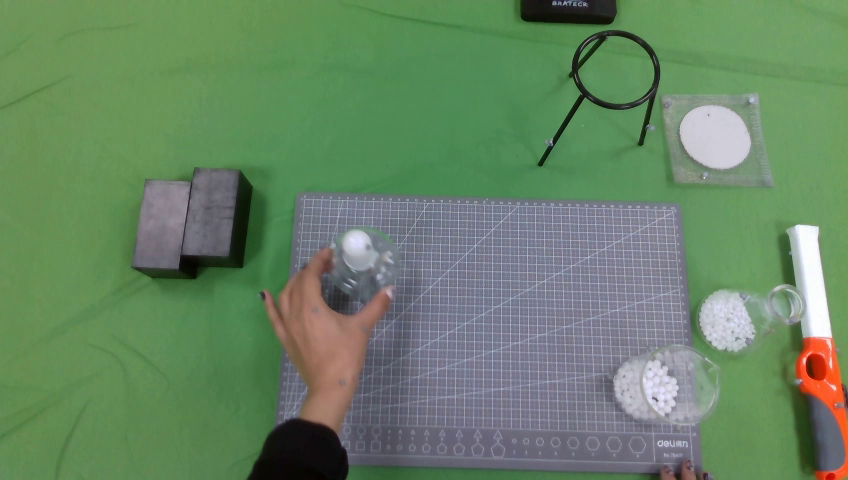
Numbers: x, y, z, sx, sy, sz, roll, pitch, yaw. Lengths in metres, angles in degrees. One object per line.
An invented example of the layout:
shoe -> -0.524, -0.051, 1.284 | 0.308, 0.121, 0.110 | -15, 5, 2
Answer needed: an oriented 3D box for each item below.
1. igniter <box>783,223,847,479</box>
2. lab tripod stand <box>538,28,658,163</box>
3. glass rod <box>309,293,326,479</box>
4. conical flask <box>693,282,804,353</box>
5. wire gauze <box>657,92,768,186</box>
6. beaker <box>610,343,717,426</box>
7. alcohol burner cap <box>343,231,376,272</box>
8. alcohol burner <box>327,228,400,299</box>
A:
igniter -> 0.426, 0.115, 0.660 | 0.057, 0.025, 0.275 | 5, 74, -11
lab tripod stand -> 0.191, -0.155, 0.675 | 0.148, 0.132, 0.147 | 0, 76, 0
glass rod -> -0.113, 0.155, 0.649 | 0.008, 0.008, 0.199 | 1, 78, -1
conical flask -> 0.336, 0.073, 0.621 | 0.075, 0.122, 0.075 | 0, 74, 0
wire gauze -> 0.351, -0.124, 0.734 | 0.125, 0.011, 0.121 | 1, 75, -2
beaker -> 0.237, 0.144, 0.609 | 0.084, 0.101, 0.073 | -21, 76, -6
alcohol burner cap -> -0.065, 0.009, 0.597 | 0.034, 0.048, 0.033 | 1, 68, -3
alcohol burner -> -0.065, 0.020, 0.632 | 0.078, 0.120, 0.077 | 0, 74, 2
